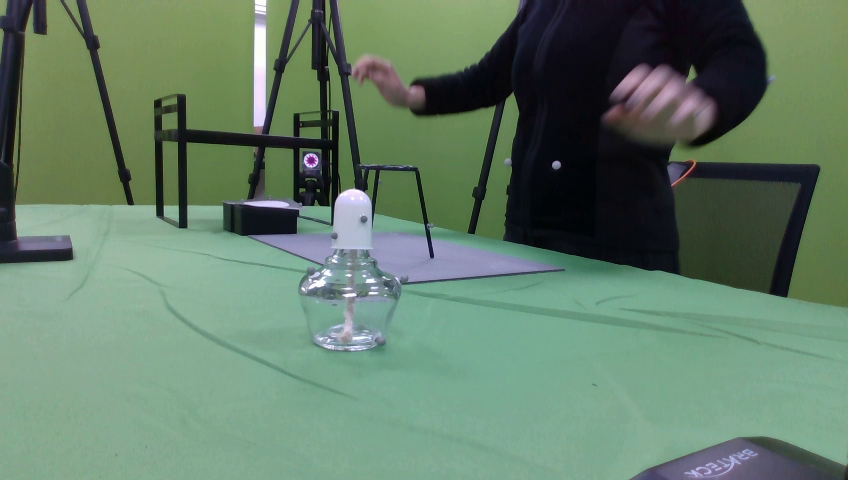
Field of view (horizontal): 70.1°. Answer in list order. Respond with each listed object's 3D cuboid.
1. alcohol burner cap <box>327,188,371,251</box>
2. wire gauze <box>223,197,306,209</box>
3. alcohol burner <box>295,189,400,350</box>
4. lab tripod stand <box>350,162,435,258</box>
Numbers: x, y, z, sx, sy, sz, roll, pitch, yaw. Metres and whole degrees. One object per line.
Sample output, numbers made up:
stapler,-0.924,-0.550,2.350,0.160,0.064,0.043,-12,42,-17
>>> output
alcohol burner cap,-0.055,-0.015,0.448,0.034,0.048,0.034,0,1,0
wire gauze,-0.291,-0.068,1.098,0.126,0.011,0.121,-2,10,-28
alcohol burner,-0.056,0.021,0.453,0.078,0.119,0.078,3,7,0
lab tripod stand,-0.055,-0.044,0.863,0.148,0.131,0.148,3,9,0
